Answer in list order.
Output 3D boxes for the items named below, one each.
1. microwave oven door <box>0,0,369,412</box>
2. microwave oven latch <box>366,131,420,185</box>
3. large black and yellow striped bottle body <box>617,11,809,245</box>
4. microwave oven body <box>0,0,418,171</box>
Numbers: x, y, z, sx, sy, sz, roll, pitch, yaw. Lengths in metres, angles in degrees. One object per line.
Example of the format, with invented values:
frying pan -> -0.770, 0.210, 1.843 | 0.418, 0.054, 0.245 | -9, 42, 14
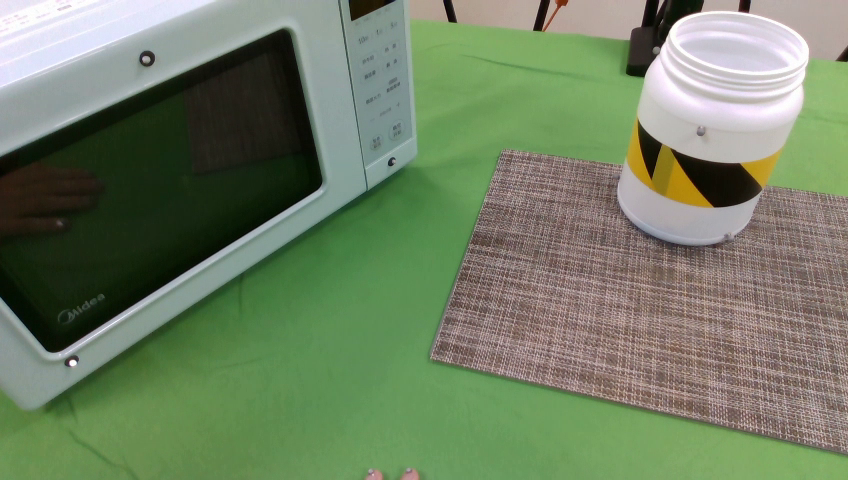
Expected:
microwave oven door -> -0.199, -0.048, 0.475 | 0.039, 0.246, 0.355 | 33, 56, 31
microwave oven latch -> -0.039, -0.093, 0.654 | 0.079, 0.030, 0.030 | -36, 55, -27
large black and yellow striped bottle body -> 0.261, -0.100, 0.561 | 0.131, 0.186, 0.129 | -1, 46, 2
microwave oven body -> -0.274, -0.136, 0.573 | 0.323, 0.262, 0.441 | 34, 57, 30
